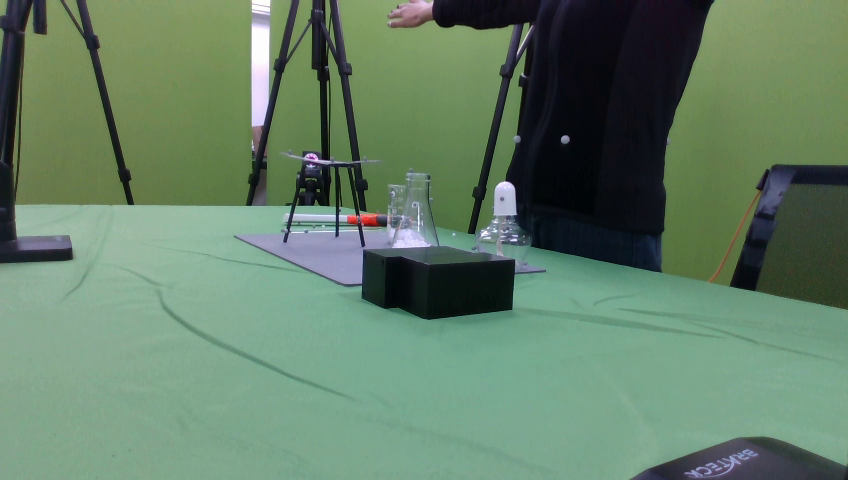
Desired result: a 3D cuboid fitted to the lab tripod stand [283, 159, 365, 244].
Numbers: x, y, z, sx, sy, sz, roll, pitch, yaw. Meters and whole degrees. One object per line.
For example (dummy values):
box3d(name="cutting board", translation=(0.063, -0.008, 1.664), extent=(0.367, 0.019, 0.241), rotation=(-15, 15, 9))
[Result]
box3d(name="lab tripod stand", translation=(-0.151, -0.063, 0.983), extent=(0.148, 0.131, 0.148), rotation=(4, 7, 0))

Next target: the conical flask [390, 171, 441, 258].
box3d(name="conical flask", translation=(-0.010, -0.037, 0.872), extent=(0.075, 0.122, 0.075), rotation=(2, 7, 0))

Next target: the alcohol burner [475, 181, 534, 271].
box3d(name="alcohol burner", translation=(0.108, -0.020, 0.804), extent=(0.078, 0.119, 0.078), rotation=(3, 5, 0))

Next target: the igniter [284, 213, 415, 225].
box3d(name="igniter", translation=(-0.154, -0.045, 1.282), extent=(0.278, 0.025, 0.057), rotation=(0, -2, -20))

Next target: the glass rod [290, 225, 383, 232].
box3d(name="glass rod", translation=(-0.166, -0.023, 1.174), extent=(0.201, 0.008, 0.008), rotation=(-3, 9, -35))

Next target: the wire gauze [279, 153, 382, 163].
box3d(name="wire gauze", translation=(-0.149, -0.129, 0.974), extent=(0.124, 0.011, 0.122), rotation=(10, 9, 41))

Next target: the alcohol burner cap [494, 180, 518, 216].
box3d(name="alcohol burner cap", translation=(0.108, -0.055, 0.800), extent=(0.034, 0.048, 0.034), rotation=(-2, 4, 0))

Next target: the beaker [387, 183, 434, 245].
box3d(name="beaker", translation=(-0.027, -0.044, 1.012), extent=(0.074, 0.100, 0.083), rotation=(-2, 8, -34))
